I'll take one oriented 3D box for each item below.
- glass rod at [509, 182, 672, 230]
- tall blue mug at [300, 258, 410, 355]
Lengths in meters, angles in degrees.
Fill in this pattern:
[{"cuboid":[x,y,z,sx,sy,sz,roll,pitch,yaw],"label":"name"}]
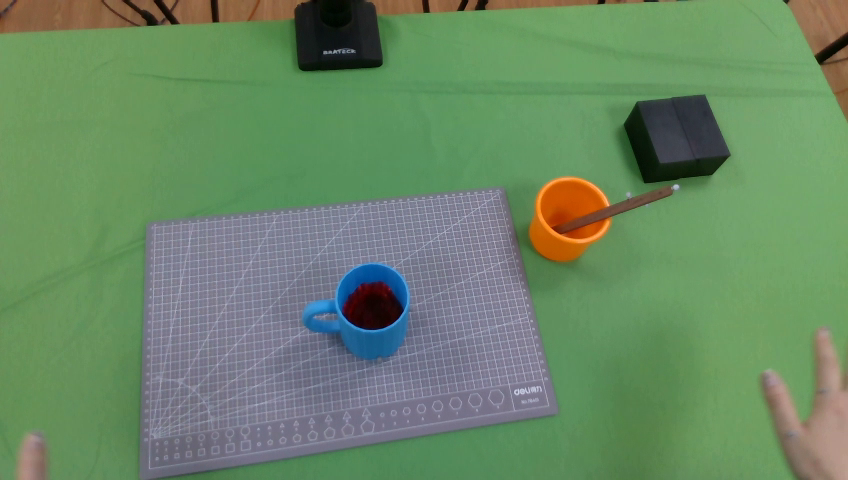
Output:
[{"cuboid":[0.193,-0.038,0.722,0.199,0.008,0.008,-16,60,30],"label":"glass rod"},{"cuboid":[-0.070,0.082,0.655,0.107,0.108,0.077,-29,71,-17],"label":"tall blue mug"}]
